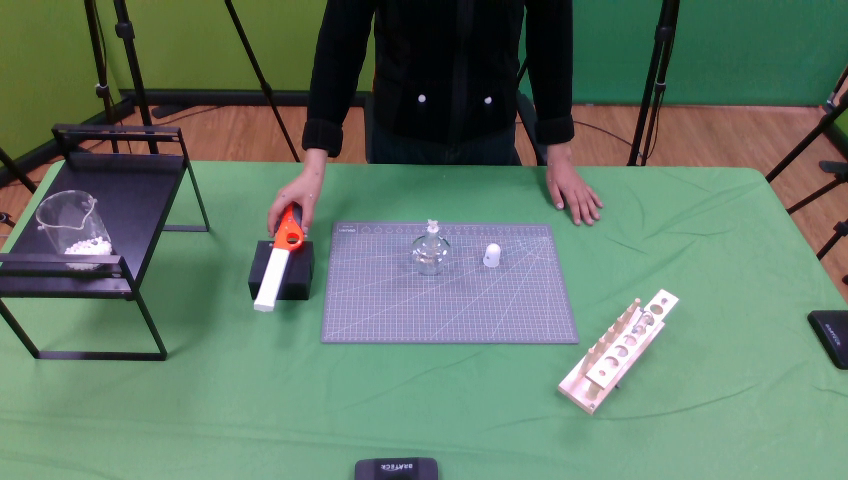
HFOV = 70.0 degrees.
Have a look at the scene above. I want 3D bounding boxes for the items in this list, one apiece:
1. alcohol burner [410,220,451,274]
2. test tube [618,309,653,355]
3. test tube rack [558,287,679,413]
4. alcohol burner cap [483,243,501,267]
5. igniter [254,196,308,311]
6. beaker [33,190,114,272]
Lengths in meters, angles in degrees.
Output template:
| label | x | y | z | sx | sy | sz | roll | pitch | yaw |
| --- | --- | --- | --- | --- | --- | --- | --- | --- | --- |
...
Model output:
| label | x | y | z | sx | sy | sz | roll | pitch | yaw |
| --- | --- | --- | --- | --- | --- | --- | --- | --- | --- |
| alcohol burner | 0.013 | 0.007 | 1.120 | 0.078 | 0.120 | 0.077 | 1 | 48 | -1 |
| test tube | 0.329 | 0.155 | 0.956 | 0.017 | 0.151 | 0.017 | 2 | 51 | -2 |
| test tube rack | 0.326 | 0.170 | 1.009 | 0.066 | 0.085 | 0.242 | 36 | 54 | 26 |
| alcohol burner cap | 0.132 | 0.025 | 1.161 | 0.034 | 0.048 | 0.033 | 3 | 47 | -3 |
| igniter | -0.255 | 0.013 | 1.093 | 0.057 | 0.025 | 0.275 | 11 | 45 | -5 |
| beaker | -0.493 | -0.009 | 0.865 | 0.083 | 0.101 | 0.074 | 37 | 55 | 27 |
